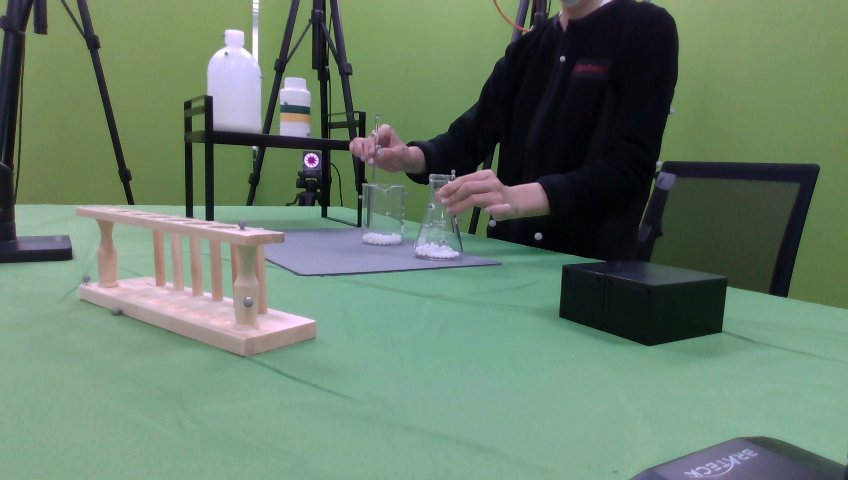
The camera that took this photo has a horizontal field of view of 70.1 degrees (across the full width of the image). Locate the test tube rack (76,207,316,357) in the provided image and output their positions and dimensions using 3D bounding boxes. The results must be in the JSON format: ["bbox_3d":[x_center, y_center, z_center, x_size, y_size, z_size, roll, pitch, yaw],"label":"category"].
[{"bbox_3d":[-0.196,0.023,0.500,0.241,0.085,0.067,8,9,36],"label":"test tube rack"}]

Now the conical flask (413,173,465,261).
[{"bbox_3d":[0.024,-0.034,0.868,0.075,0.122,0.075,2,7,0],"label":"conical flask"}]

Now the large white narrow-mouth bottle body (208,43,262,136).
[{"bbox_3d":[-0.368,-0.304,1.181,0.102,0.194,0.101,2,9,0],"label":"large white narrow-mouth bottle body"}]

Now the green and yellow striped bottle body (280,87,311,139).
[{"bbox_3d":[-0.269,-0.274,1.266,0.063,0.119,0.063,3,7,0],"label":"green and yellow striped bottle body"}]

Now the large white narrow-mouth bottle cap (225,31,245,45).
[{"bbox_3d":[-0.365,-0.388,1.166,0.038,0.024,0.037,2,9,0],"label":"large white narrow-mouth bottle cap"}]

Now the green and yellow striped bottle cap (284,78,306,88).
[{"bbox_3d":[-0.268,-0.325,1.259,0.045,0.020,0.045,5,7,0],"label":"green and yellow striped bottle cap"}]

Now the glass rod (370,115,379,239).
[{"bbox_3d":[-0.080,-0.100,0.974,0.008,0.199,0.008,3,5,0],"label":"glass rod"}]

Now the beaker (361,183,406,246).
[{"bbox_3d":[-0.067,-0.042,0.993,0.074,0.100,0.084,1,8,-8],"label":"beaker"}]
